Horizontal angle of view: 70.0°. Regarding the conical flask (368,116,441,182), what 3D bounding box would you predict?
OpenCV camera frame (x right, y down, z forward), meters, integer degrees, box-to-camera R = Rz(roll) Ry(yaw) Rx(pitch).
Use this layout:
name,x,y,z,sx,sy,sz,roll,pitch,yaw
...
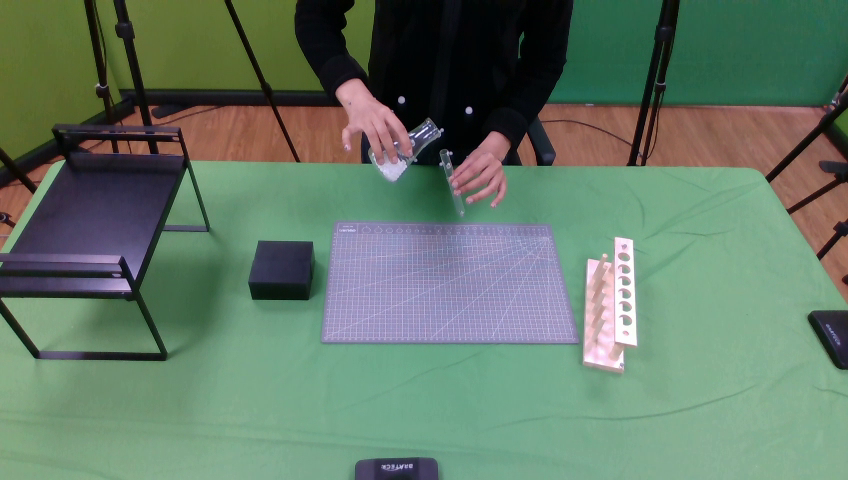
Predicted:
name,x,y,z,sx,sy,sz,roll,pitch,yaw
conical flask,-0.030,-0.161,1.031,0.122,0.076,0.075,-36,49,13

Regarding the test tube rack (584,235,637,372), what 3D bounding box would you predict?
name,x,y,z,sx,sy,sz,roll,pitch,yaw
test tube rack,0.329,0.103,1.073,0.067,0.085,0.241,11,47,7

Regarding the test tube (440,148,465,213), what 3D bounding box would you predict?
name,x,y,z,sx,sy,sz,roll,pitch,yaw
test tube,0.053,-0.104,1.094,0.017,0.151,0.017,-10,44,10
